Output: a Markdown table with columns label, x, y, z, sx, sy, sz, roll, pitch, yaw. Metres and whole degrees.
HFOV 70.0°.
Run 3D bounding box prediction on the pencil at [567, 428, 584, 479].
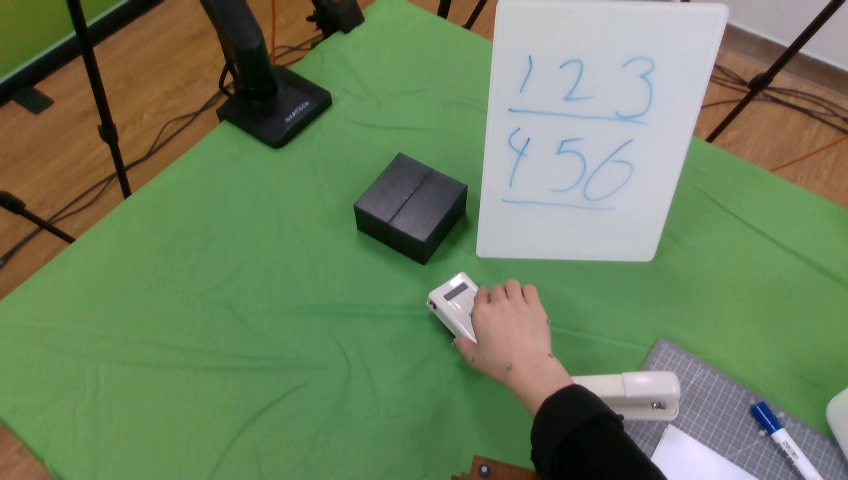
| label | x | y | z | sx | sy | sz | roll | pitch | yaw |
| --- | --- | --- | --- | --- | --- | --- | --- | --- | --- |
| pencil | 0.129 | 0.268 | 0.573 | 0.012 | 0.012 | 0.193 | 18 | 58 | 11 |

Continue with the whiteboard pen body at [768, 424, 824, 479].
| label | x | y | z | sx | sy | sz | roll | pitch | yaw |
| --- | --- | --- | --- | --- | --- | --- | --- | --- | --- |
| whiteboard pen body | 0.374 | 0.224 | 0.595 | 0.017 | 0.017 | 0.139 | -19 | 57 | -13 |

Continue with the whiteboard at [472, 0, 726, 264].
| label | x | y | z | sx | sy | sz | roll | pitch | yaw |
| --- | --- | --- | --- | --- | --- | --- | --- | --- | --- |
| whiteboard | 0.172 | -0.137 | 0.700 | 0.217 | 0.308 | 0.142 | 2 | 38 | 1 |

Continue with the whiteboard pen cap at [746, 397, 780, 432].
| label | x | y | z | sx | sy | sz | roll | pitch | yaw |
| --- | --- | --- | --- | --- | --- | --- | --- | --- | --- |
| whiteboard pen cap | 0.351 | 0.181 | 0.626 | 0.018 | 0.018 | 0.033 | -20 | 57 | -13 |

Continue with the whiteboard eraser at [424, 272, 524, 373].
| label | x | y | z | sx | sy | sz | roll | pitch | yaw |
| --- | --- | --- | --- | --- | --- | --- | --- | --- | --- |
| whiteboard eraser | 0.054 | 0.091 | 0.669 | 0.055 | 0.042 | 0.111 | -34 | 63 | -19 |

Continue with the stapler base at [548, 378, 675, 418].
| label | x | y | z | sx | sy | sz | roll | pitch | yaw |
| --- | --- | --- | --- | --- | --- | --- | --- | --- | --- |
| stapler base | 0.198 | 0.162 | 0.635 | 0.130 | 0.024 | 0.041 | 0 | 53 | 3 |

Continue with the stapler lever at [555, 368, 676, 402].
| label | x | y | z | sx | sy | sz | roll | pitch | yaw |
| --- | --- | --- | --- | --- | --- | --- | --- | --- | --- |
| stapler lever | 0.195 | 0.148 | 0.614 | 0.118 | 0.040 | 0.026 | 0 | 53 | 3 |

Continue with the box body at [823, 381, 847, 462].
| label | x | y | z | sx | sy | sz | roll | pitch | yaw |
| --- | --- | --- | --- | --- | --- | --- | --- | --- | --- |
| box body | 0.558 | 0.250 | 0.501 | 0.254 | 0.162 | 0.360 | -9 | 57 | -7 |

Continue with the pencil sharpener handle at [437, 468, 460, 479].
| label | x | y | z | sx | sy | sz | roll | pitch | yaw |
| --- | --- | --- | --- | --- | --- | --- | --- | --- | --- |
| pencil sharpener handle | 0.012 | 0.222 | 0.529 | 0.030 | 0.068 | 0.035 | 12 | 41 | 8 |

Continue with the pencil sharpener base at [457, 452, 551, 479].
| label | x | y | z | sx | sy | sz | roll | pitch | yaw |
| --- | --- | --- | --- | --- | --- | --- | --- | --- | --- |
| pencil sharpener base | 0.063 | 0.236 | 0.536 | 0.076 | 0.108 | 0.061 | 12 | 58 | 8 |
